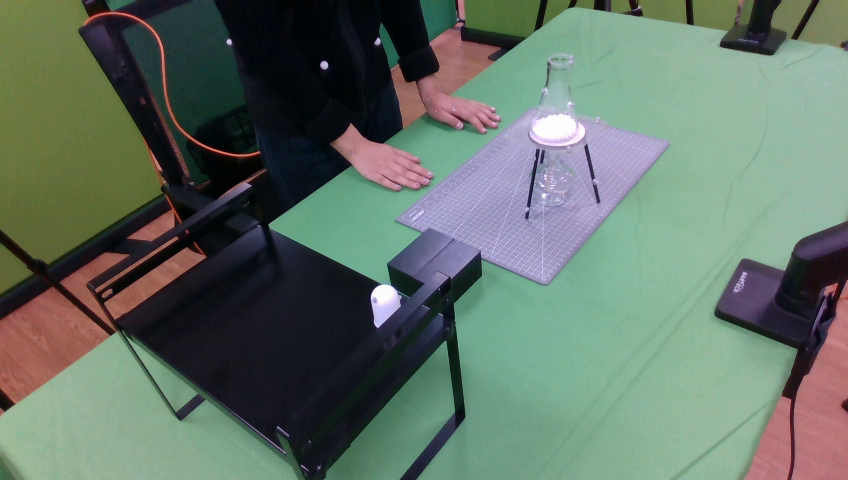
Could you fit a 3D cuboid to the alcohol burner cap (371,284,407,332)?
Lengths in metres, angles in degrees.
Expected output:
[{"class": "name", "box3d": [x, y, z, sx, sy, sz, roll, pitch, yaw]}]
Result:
[{"class": "alcohol burner cap", "box3d": [-0.036, 0.066, 0.608, 0.034, 0.048, 0.033, -5, 40, 5]}]

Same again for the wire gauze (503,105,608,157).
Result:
[{"class": "wire gauze", "box3d": [0.208, -0.172, 0.954, 0.120, 0.011, 0.125, 22, 50, 32]}]

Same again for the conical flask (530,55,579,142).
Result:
[{"class": "conical flask", "box3d": [0.200, -0.216, 0.914, 0.075, 0.122, 0.075, -3, 41, 3]}]

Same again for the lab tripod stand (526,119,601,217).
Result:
[{"class": "lab tripod stand", "box3d": [0.220, -0.122, 0.995, 0.148, 0.132, 0.147, -3, 39, 3]}]

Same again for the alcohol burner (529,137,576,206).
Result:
[{"class": "alcohol burner", "box3d": [0.214, -0.117, 1.005, 0.078, 0.119, 0.077, -4, 38, 4]}]
